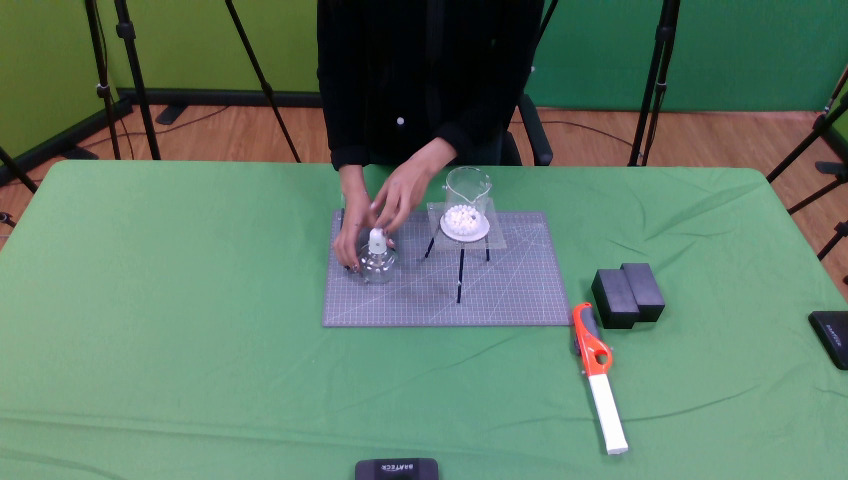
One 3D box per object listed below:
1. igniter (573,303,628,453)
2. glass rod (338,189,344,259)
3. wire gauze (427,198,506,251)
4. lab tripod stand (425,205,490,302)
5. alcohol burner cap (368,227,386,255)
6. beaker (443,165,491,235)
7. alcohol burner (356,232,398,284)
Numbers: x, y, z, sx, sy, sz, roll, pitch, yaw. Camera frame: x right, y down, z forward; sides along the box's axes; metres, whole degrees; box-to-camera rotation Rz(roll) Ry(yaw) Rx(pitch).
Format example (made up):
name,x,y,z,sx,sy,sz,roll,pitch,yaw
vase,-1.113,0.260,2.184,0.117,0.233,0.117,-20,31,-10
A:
name,x,y,z,sx,sy,sz,roll,pitch,yaw
igniter,0.288,0.217,1.006,0.057,0.025,0.274,-9,46,8
glass rod,-0.167,-0.037,1.226,0.008,0.008,0.198,-1,47,-4
wire gauze,0.072,-0.027,1.056,0.125,0.011,0.120,-1,49,-8
lab tripod stand,0.069,0.017,1.106,0.148,0.132,0.147,3,47,-3
alcohol burner cap,-0.084,-0.001,1.075,0.034,0.048,0.033,0,44,0
beaker,0.070,-0.062,1.023,0.074,0.101,0.083,-2,48,-6
alcohol burner,-0.085,0.024,1.101,0.078,0.119,0.077,3,48,-3
